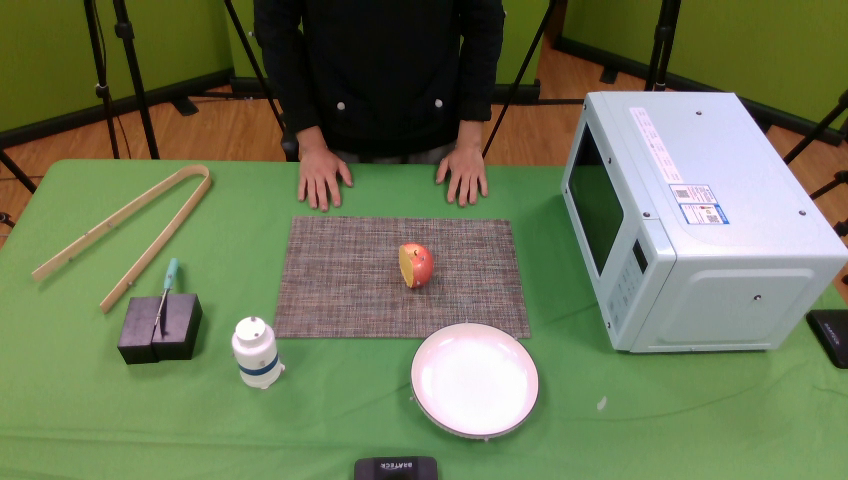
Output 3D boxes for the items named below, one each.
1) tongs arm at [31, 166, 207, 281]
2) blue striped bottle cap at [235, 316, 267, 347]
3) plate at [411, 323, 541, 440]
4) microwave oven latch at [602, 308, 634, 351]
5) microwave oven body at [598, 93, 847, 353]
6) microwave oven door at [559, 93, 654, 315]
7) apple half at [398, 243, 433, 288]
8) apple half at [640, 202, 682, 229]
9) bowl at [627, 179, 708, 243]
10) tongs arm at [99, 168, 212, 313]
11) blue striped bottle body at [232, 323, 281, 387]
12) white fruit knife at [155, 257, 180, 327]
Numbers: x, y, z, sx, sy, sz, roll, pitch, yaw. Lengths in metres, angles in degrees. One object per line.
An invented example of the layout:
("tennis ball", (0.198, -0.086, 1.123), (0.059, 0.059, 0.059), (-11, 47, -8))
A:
("tongs arm", (-0.578, -0.040, 1.185), (0.050, 0.026, 0.384), (23, 48, 17))
("blue striped bottle cap", (-0.259, 0.137, 0.907), (0.044, 0.021, 0.044), (3, 43, -2))
("plate", (0.082, 0.228, 0.976), (0.208, 0.039, 0.206), (2, 45, -2))
("microwave oven latch", (0.332, 0.153, 1.044), (0.030, 0.029, 0.078), (-1, 45, -4))
("microwave oven body", (0.475, -0.041, 1.110), (0.326, 0.261, 0.438), (-1, 45, -4))
("microwave oven door", (0.327, -0.074, 1.123), (0.039, 0.245, 0.353), (-1, 46, -5))
("apple half", (-0.012, 0.046, 1.115), (0.053, 0.075, 0.080), (-11, 44, -20))
("apple half", (0.456, -0.054, 1.161), (0.081, 0.033, 0.081), (-4, 33, 3))
("bowl", (0.456, -0.047, 1.168), (0.151, 0.077, 0.150), (7, 36, -5))
("tongs arm", (-0.504, -0.012, 1.167), (0.028, 0.028, 0.385), (11, 46, 11))
("blue striped bottle body", (-0.262, 0.171, 0.944), (0.063, 0.121, 0.062), (2, 46, -2))
("white fruit knife", (-0.440, 0.085, 1.037), (0.016, 0.027, 0.206), (10, 26, -19))
